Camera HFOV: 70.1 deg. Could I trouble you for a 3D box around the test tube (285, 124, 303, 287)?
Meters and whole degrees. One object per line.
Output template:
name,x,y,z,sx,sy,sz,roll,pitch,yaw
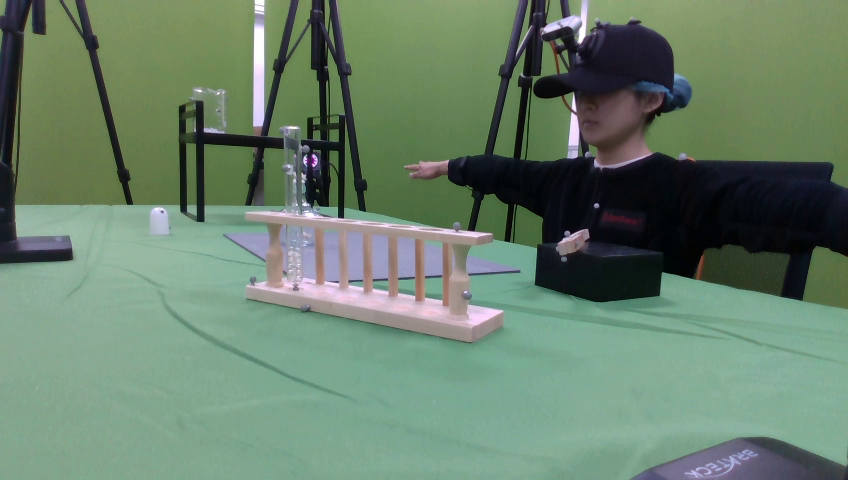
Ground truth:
test tube,-0.120,-0.030,0.558,0.017,0.150,0.017,2,10,0

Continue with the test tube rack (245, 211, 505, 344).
test tube rack,-0.049,0.025,0.547,0.241,0.085,0.067,7,8,29

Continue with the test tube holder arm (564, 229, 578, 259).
test tube holder arm,0.172,0.002,0.706,0.013,0.015,0.179,7,9,13

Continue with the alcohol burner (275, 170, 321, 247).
alcohol burner,-0.199,-0.050,0.948,0.078,0.119,0.078,1,7,0

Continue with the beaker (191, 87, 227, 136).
beaker,-0.476,-0.284,1.345,0.074,0.100,0.083,-3,10,-37

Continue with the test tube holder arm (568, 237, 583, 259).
test tube holder arm,0.166,0.008,0.661,0.010,0.015,0.088,8,9,18

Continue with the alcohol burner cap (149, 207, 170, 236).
alcohol burner cap,-0.445,-0.032,1.019,0.034,0.048,0.034,5,8,0
